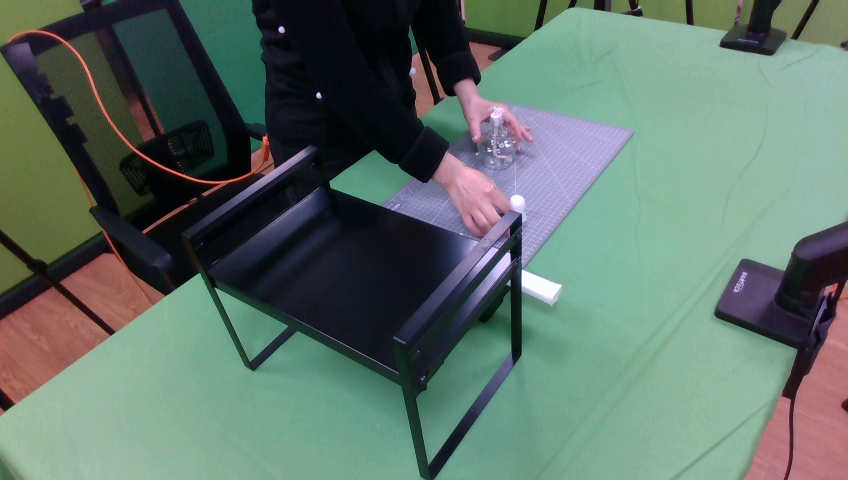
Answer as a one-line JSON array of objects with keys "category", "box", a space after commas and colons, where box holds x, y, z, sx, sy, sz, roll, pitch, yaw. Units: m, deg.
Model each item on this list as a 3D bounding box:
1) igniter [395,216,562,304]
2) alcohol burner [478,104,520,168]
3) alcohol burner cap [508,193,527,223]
[{"category": "igniter", "box": [0.066, 0.023, 0.864, 0.274, 0.025, 0.057, 24, 48, 28]}, {"category": "alcohol burner", "box": [0.137, -0.193, 1.106, 0.078, 0.119, 0.077, -5, 39, 4]}, {"category": "alcohol burner cap", "box": [0.155, -0.054, 0.996, 0.034, 0.048, 0.033, -3, 41, 3]}]
